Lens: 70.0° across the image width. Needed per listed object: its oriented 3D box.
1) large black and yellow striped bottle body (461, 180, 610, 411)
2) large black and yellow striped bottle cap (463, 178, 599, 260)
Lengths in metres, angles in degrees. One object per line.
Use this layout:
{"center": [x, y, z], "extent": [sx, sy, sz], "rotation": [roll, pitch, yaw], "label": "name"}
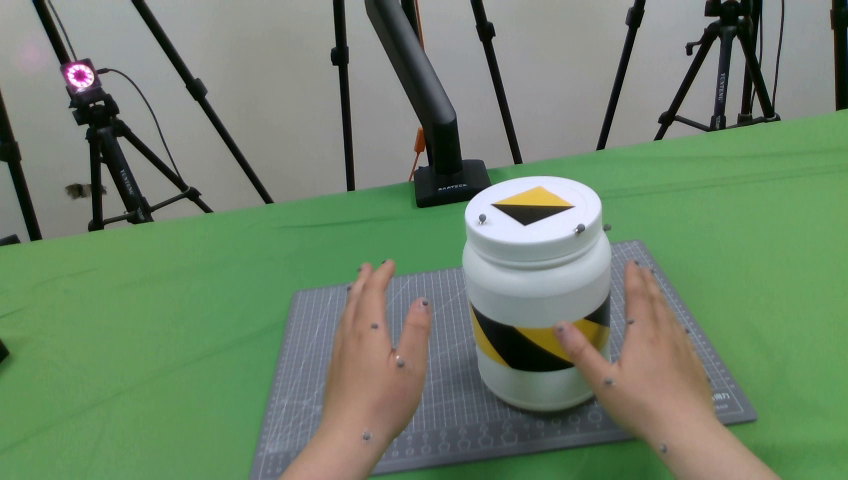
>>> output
{"center": [0.104, 0.050, 0.558], "extent": [0.131, 0.185, 0.129], "rotation": [-7, 32, 5], "label": "large black and yellow striped bottle body"}
{"center": [0.090, -0.020, 0.514], "extent": [0.115, 0.019, 0.114], "rotation": [-7, 31, 4], "label": "large black and yellow striped bottle cap"}
